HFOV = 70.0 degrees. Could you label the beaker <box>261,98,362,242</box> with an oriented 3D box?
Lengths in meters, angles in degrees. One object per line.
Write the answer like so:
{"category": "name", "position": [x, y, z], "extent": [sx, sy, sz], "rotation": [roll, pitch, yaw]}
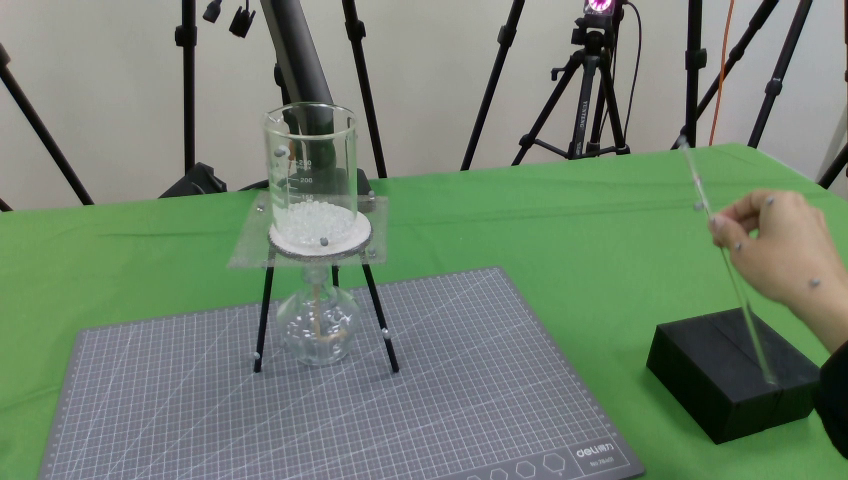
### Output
{"category": "beaker", "position": [-0.092, -0.056, 0.492], "extent": [0.083, 0.101, 0.074], "rotation": [21, 36, 25]}

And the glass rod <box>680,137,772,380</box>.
{"category": "glass rod", "position": [0.235, 0.014, 0.473], "extent": [0.008, 0.199, 0.008], "rotation": [-19, -1, 0]}

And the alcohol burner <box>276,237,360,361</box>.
{"category": "alcohol burner", "position": [-0.098, 0.051, 0.556], "extent": [0.078, 0.120, 0.077], "rotation": [0, 31, 0]}

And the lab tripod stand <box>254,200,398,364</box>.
{"category": "lab tripod stand", "position": [-0.087, 0.041, 0.553], "extent": [0.148, 0.132, 0.147], "rotation": [3, 32, -2]}

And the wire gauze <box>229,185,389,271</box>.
{"category": "wire gauze", "position": [-0.092, -0.014, 0.517], "extent": [0.121, 0.011, 0.124], "rotation": [0, 35, -3]}
